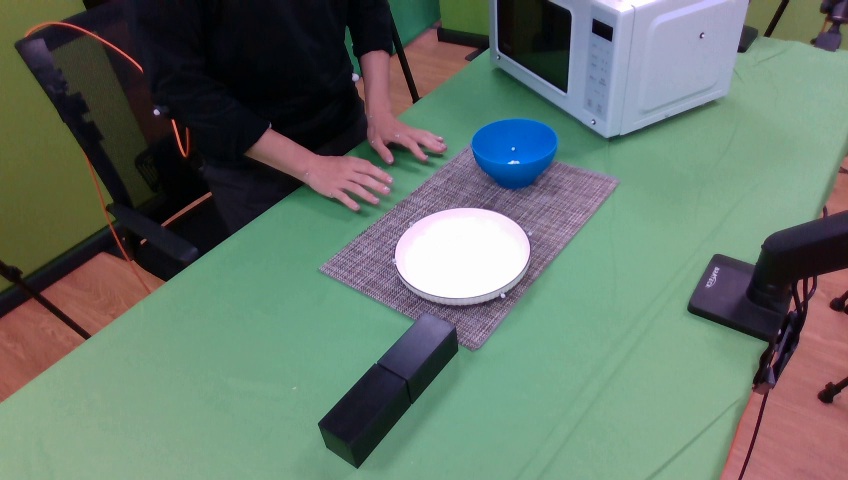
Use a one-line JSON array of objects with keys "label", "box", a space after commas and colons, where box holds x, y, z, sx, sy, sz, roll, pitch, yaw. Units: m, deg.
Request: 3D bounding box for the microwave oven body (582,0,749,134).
[{"label": "microwave oven body", "box": [0.382, -0.445, 1.246, 0.327, 0.261, 0.437, -22, 42, -16]}]

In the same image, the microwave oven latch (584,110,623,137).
[{"label": "microwave oven latch", "box": [0.337, -0.222, 1.142, 0.030, 0.029, 0.078, -21, 42, -14]}]

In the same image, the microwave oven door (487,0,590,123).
[{"label": "microwave oven door", "box": [0.232, -0.420, 1.231, 0.039, 0.245, 0.352, -22, 43, -16]}]

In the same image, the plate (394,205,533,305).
[{"label": "plate", "box": [0.059, 0.025, 0.915, 0.207, 0.039, 0.206, -4, 41, 4]}]

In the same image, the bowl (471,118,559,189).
[{"label": "bowl", "box": [0.160, -0.144, 1.066, 0.151, 0.077, 0.150, -4, 41, 4]}]
